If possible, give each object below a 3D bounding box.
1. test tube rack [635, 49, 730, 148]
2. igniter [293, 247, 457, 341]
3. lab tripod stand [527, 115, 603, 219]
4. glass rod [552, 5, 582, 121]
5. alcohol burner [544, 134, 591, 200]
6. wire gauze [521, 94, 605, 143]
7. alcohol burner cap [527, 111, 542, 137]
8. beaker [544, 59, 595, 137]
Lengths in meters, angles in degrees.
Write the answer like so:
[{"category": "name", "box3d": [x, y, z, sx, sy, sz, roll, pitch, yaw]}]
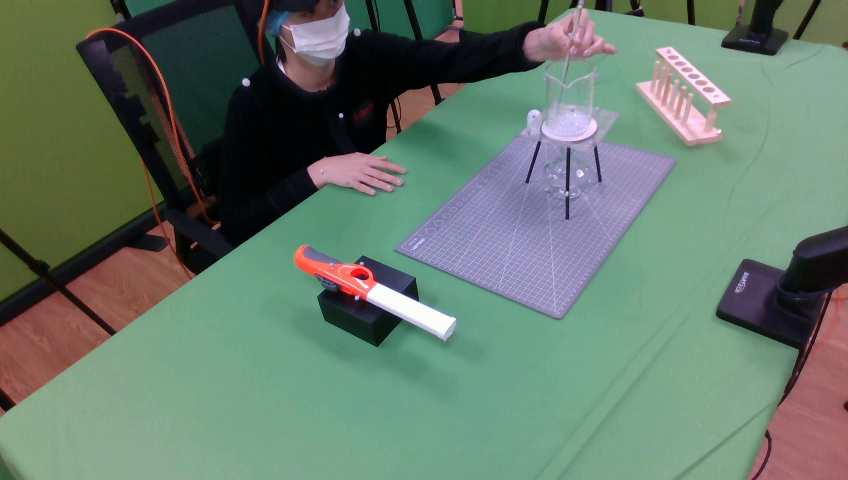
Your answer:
[{"category": "test tube rack", "box3d": [0.497, -0.283, 1.185, 0.067, 0.085, 0.240, -10, 40, -2]}, {"category": "igniter", "box3d": [-0.077, 0.068, 0.830, 0.274, 0.025, 0.057, 22, 48, 27]}, {"category": "lab tripod stand", "box3d": [0.234, -0.129, 1.002, 0.148, 0.132, 0.147, -6, 40, 6]}, {"category": "glass rod", "box3d": [0.209, -0.253, 0.890, 0.008, 0.200, 0.008, 1, 52, 0]}, {"category": "alcohol burner", "box3d": [0.241, -0.127, 1.014, 0.078, 0.119, 0.077, -5, 42, 5]}, {"category": "wire gauze", "box3d": [0.219, -0.190, 0.949, 0.121, 0.011, 0.125, 7, 46, 14]}, {"category": "alcohol burner cap", "box3d": [0.221, -0.233, 1.200, 0.034, 0.048, 0.033, -6, 41, 6]}, {"category": "beaker", "box3d": [0.222, -0.214, 0.926, 0.074, 0.101, 0.084, 3, 42, 16]}]
